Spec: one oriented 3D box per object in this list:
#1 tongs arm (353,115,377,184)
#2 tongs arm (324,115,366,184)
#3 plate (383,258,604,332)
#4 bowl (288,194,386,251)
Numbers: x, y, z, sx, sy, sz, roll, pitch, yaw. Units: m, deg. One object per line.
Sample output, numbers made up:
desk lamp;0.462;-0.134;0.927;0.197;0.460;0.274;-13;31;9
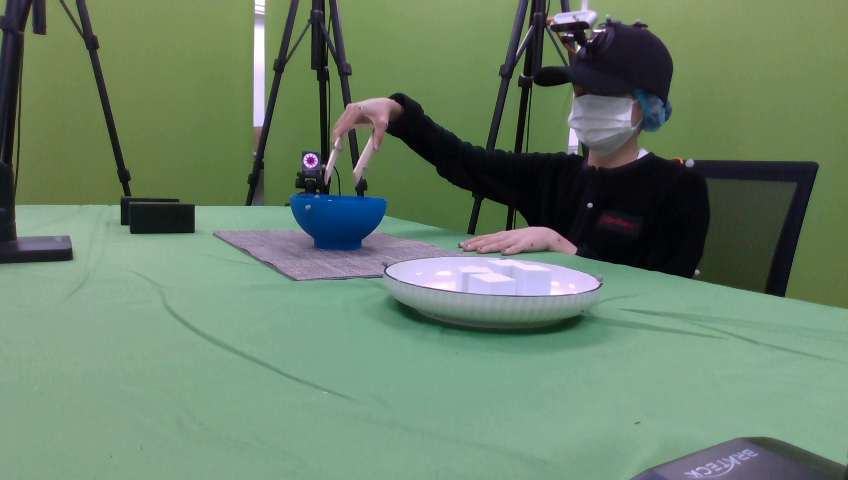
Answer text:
tongs arm;-0.106;-0.170;1.074;0.028;0.028;0.387;-3;23;1
tongs arm;-0.134;-0.171;1.074;0.051;0.026;0.384;-1;23;-3
plate;0.064;0.051;0.582;0.209;0.038;0.209;3;7;0
bowl;-0.135;-0.027;0.936;0.151;0.077;0.151;3;7;0
